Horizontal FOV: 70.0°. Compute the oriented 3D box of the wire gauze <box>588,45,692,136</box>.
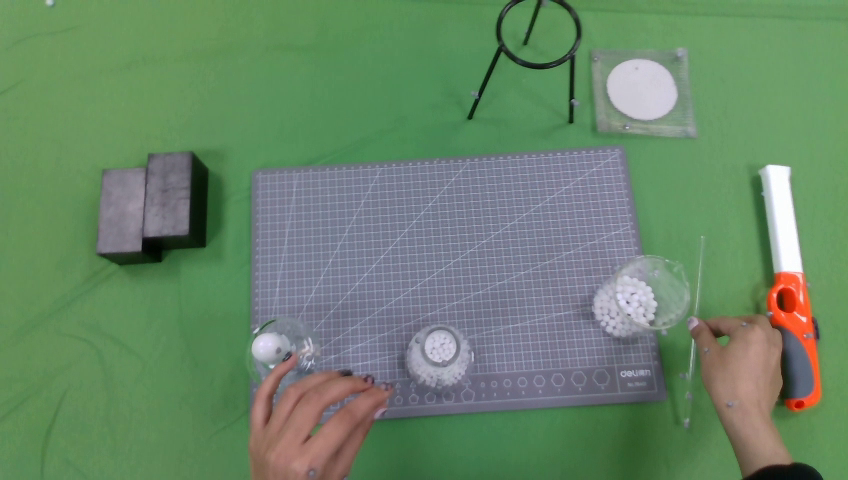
[{"bbox_3d":[0.268,-0.189,0.752,0.125,0.011,0.121,2,75,-1],"label":"wire gauze"}]

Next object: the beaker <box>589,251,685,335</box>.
[{"bbox_3d":[0.220,0.058,0.636,0.084,0.101,0.073,-40,78,-10],"label":"beaker"}]

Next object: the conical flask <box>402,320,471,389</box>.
[{"bbox_3d":[0.013,0.110,0.611,0.075,0.122,0.075,0,74,1],"label":"conical flask"}]

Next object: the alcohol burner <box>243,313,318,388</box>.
[{"bbox_3d":[-0.151,0.110,0.616,0.078,0.120,0.077,-1,74,3],"label":"alcohol burner"}]

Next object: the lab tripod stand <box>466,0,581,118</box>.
[{"bbox_3d":[0.117,-0.203,0.692,0.148,0.132,0.147,0,77,1],"label":"lab tripod stand"}]

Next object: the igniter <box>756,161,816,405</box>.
[{"bbox_3d":[0.404,0.043,0.679,0.057,0.025,0.275,4,75,-9],"label":"igniter"}]

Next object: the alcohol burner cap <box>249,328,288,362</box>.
[{"bbox_3d":[-0.151,0.100,0.582,0.034,0.048,0.033,1,78,-3],"label":"alcohol burner cap"}]

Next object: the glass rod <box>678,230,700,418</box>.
[{"bbox_3d":[0.279,0.089,0.639,0.008,0.008,0.199,4,92,1],"label":"glass rod"}]
